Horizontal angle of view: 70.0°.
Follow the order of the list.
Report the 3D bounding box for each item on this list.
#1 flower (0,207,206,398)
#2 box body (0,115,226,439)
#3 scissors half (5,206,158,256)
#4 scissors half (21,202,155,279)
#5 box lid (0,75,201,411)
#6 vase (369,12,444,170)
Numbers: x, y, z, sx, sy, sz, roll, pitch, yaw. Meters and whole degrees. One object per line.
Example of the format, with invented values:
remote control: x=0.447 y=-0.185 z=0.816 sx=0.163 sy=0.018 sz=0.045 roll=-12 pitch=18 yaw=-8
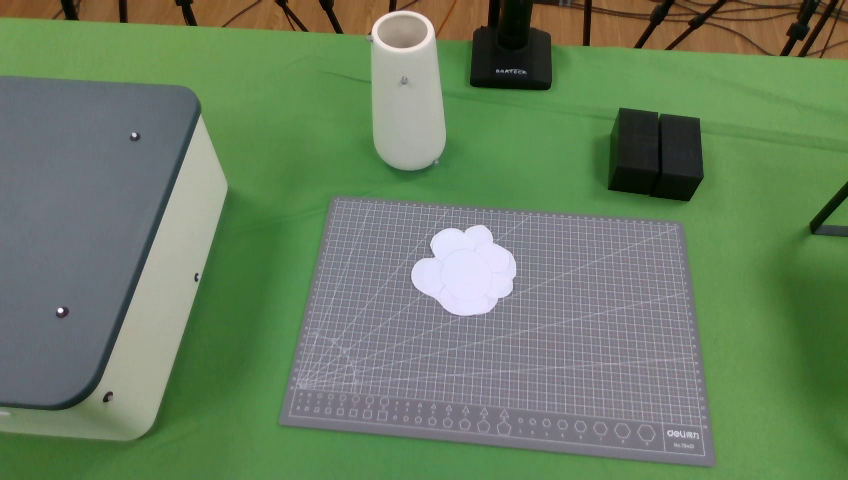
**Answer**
flower: x=-0.385 y=0.058 z=0.730 sx=0.038 sy=0.044 sz=0.360 roll=-8 pitch=30 yaw=35
box body: x=-0.388 y=0.018 z=0.656 sx=0.254 sy=0.162 sz=0.361 roll=3 pitch=58 yaw=3
scissors half: x=-0.419 y=-0.007 z=0.744 sx=0.175 sy=0.040 sz=0.012 roll=-19 pitch=28 yaw=-12
scissors half: x=-0.415 y=0.004 z=0.750 sx=0.175 sy=0.040 sz=0.012 roll=-27 pitch=24 yaw=-7
box lid: x=-0.389 y=-0.024 z=0.592 sx=0.263 sy=0.015 sz=0.368 roll=4 pitch=58 yaw=1
vase: x=-0.024 y=-0.179 z=0.751 sx=0.098 sy=0.202 sz=0.097 roll=-1 pitch=57 yaw=2
